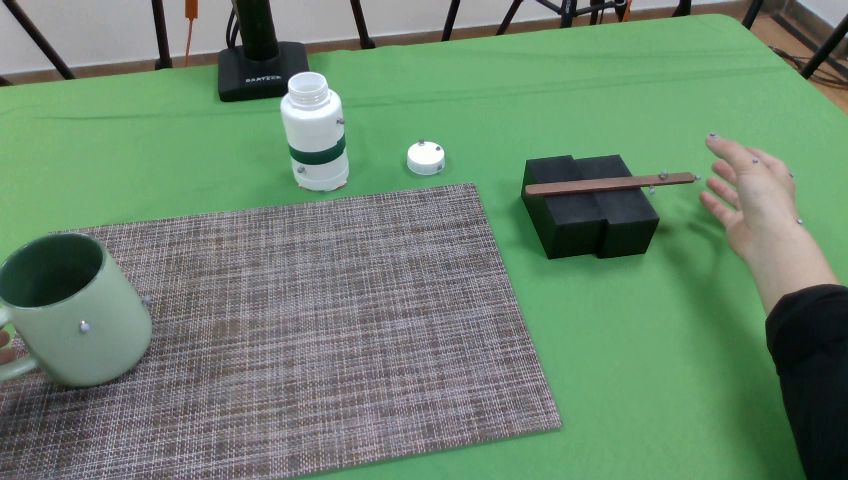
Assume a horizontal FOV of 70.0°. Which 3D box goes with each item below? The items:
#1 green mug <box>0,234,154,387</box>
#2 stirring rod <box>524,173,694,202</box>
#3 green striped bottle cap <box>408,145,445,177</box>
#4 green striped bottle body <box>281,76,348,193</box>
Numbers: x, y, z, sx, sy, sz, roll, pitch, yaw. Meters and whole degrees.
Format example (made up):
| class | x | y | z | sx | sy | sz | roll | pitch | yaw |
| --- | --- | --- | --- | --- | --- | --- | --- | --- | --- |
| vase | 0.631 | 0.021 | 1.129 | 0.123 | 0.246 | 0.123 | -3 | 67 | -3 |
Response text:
| class | x | y | z | sx | sy | sz | roll | pitch | yaw |
| --- | --- | --- | --- | --- | --- | --- | --- | --- | --- |
| green mug | -0.291 | 0.067 | 0.482 | 0.125 | 0.106 | 0.091 | -34 | 56 | -29 |
| stirring rod | 0.188 | -0.053 | 0.612 | 0.176 | 0.006 | 0.014 | -7 | 52 | -5 |
| green striped bottle cap | 0.002 | -0.092 | 0.706 | 0.044 | 0.020 | 0.044 | 0 | 43 | 0 |
| green striped bottle body | -0.118 | -0.114 | 0.653 | 0.063 | 0.120 | 0.062 | 1 | 46 | 0 |
